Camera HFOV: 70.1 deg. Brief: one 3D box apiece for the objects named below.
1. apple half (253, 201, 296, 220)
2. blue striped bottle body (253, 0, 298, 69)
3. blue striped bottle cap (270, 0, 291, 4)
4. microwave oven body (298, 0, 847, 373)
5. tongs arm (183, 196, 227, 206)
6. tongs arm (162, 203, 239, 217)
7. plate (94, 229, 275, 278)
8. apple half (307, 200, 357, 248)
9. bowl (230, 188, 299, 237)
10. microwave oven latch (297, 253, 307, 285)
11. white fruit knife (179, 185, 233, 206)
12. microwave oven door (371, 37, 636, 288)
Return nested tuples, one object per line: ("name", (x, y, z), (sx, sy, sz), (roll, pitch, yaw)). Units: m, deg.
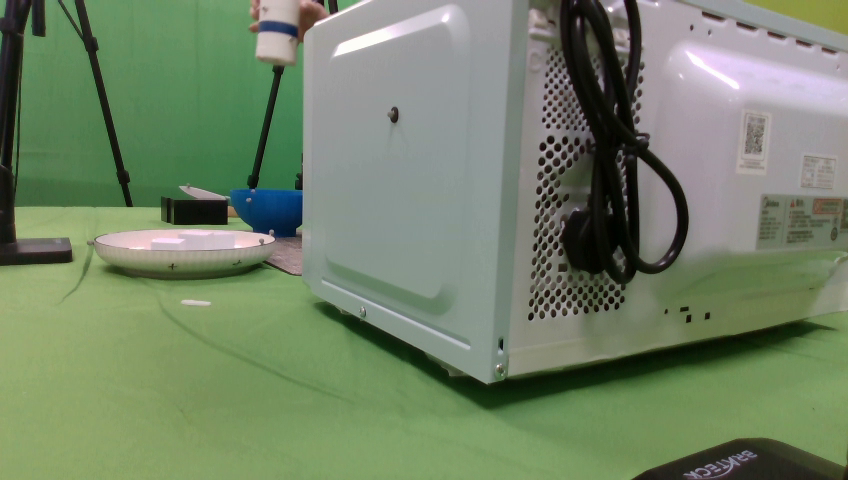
("apple half", (-0.264, -0.053, 1.066), (0.081, 0.033, 0.081), (1, 8, 0))
("blue striped bottle body", (-0.233, -0.337, 0.955), (0.063, 0.120, 0.063), (6, 6, 0))
("blue striped bottle cap", (-0.230, -0.388, 0.950), (0.044, 0.020, 0.044), (10, 7, -1))
("microwave oven body", (0.151, -0.055, 0.543), (0.444, 0.260, 0.324), (-1, 7, -33))
("tongs arm", (-0.404, -0.081, 1.479), (0.385, 0.026, 0.050), (3, 8, -2))
("tongs arm", (-0.396, -0.066, 1.399), (0.389, 0.028, 0.028), (1, 5, -15))
("plate", (-0.291, 0.016, 0.750), (0.208, 0.039, 0.207), (2, 7, 0))
("apple half", (-0.135, -0.024, 0.942), (0.053, 0.074, 0.081), (13, 9, 38))
("bowl", (-0.264, -0.048, 1.065), (0.151, 0.077, 0.151), (3, 8, 0))
("microwave oven latch", (-0.082, 0.027, 0.582), (0.079, 0.029, 0.030), (-1, 7, -32))
("white fruit knife", (-0.413, -0.081, 1.270), (0.208, 0.027, 0.016), (18, 13, -41))
("microwave oven door", (0.109, -0.080, 0.686), (0.358, 0.243, 0.039), (-2, 9, -33))
